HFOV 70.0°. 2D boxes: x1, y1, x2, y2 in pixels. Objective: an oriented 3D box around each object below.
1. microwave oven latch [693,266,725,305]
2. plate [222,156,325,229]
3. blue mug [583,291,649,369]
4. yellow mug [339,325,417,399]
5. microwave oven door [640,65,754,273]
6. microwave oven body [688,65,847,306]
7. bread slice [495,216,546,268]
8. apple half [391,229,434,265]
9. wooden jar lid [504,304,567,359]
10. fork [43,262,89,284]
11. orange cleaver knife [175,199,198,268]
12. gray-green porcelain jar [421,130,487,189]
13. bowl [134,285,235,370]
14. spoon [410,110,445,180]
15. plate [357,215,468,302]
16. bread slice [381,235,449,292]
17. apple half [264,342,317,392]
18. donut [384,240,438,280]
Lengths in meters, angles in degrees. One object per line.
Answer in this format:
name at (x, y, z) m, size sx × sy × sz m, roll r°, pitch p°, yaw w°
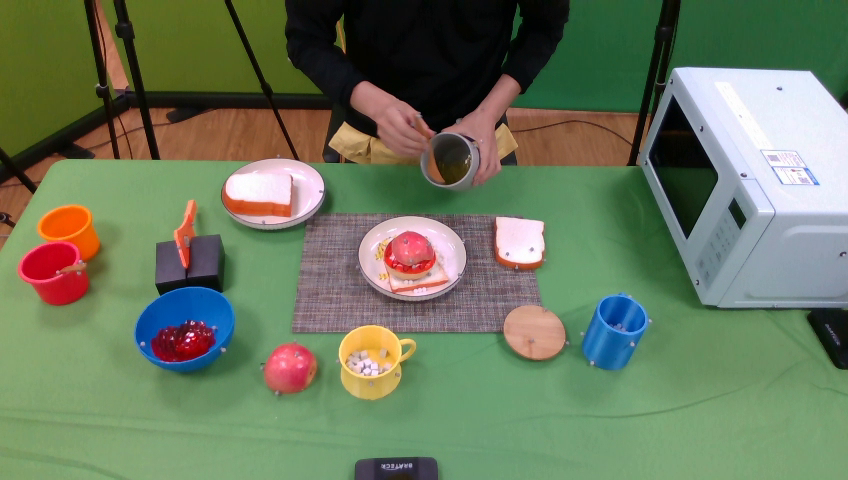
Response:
microwave oven latch at (0.523, 0.082, 1.115) m, size 0.030 × 0.029 × 0.078 m, roll 3°, pitch 46°, yaw 0°
plate at (-0.308, -0.095, 1.251) m, size 0.209 × 0.038 × 0.208 m, roll 2°, pitch 47°, yaw -2°
blue mug at (0.324, 0.142, 1.023) m, size 0.082 × 0.106 × 0.116 m, roll 15°, pitch 47°, yaw 11°
yellow mug at (-0.072, 0.190, 0.978) m, size 0.131 × 0.064 × 0.099 m, roll -17°, pitch 50°, yaw -20°
microwave oven door at (0.523, -0.147, 1.193) m, size 0.039 × 0.245 × 0.353 m, roll 0°, pitch 47°, yaw -3°
microwave oven body at (0.669, -0.111, 1.176) m, size 0.326 × 0.261 × 0.439 m, roll 0°, pitch 46°, yaw -3°
bread slice at (0.194, 0.002, 1.204) m, size 0.105 × 0.019 × 0.131 m, roll 6°, pitch 46°, yaw 2°
apple half at (-0.021, 0.004, 1.083) m, size 0.081 × 0.033 × 0.081 m, roll 7°, pitch 48°, yaw -8°
wooden jar lid at (0.192, 0.161, 1.051) m, size 0.108 × 0.021 × 0.107 m, roll 3°, pitch 50°, yaw -3°
fork at (-0.599, 0.053, 1.013) m, size 0.207 × 0.019 × 0.028 m, roll -14°, pitch 30°, yaw 45°
orange cleaver knife at (-0.438, -0.017, 1.138) m, size 0.012 × 0.077 × 0.210 m, roll -14°, pitch 27°, yaw -7°
gray-green porcelain jar at (0.063, -0.154, 1.187) m, size 0.105 × 0.106 × 0.127 m, roll 23°, pitch 8°, yaw 17°
bowl at (-0.377, 0.155, 0.981) m, size 0.151 × 0.077 × 0.150 m, roll 2°, pitch 46°, yaw -2°
spoon at (0.005, -0.161, 1.047) m, size 0.021 × 0.195 × 0.041 m, roll -40°, pitch 58°, yaw -11°
plate at (-0.022, 0.037, 1.141) m, size 0.208 × 0.039 × 0.206 m, roll 2°, pitch 46°, yaw -2°
bread slice at (-0.027, 0.039, 1.140) m, size 0.107 × 0.018 × 0.133 m, roll -12°, pitch 49°, yaw -16°
apple half at (-0.214, 0.198, 0.970) m, size 0.074 × 0.053 × 0.080 m, roll 19°, pitch 48°, yaw 10°
donut at (-0.025, 0.029, 1.109) m, size 0.099 × 0.048 × 0.098 m, roll 2°, pitch 46°, yaw -2°
